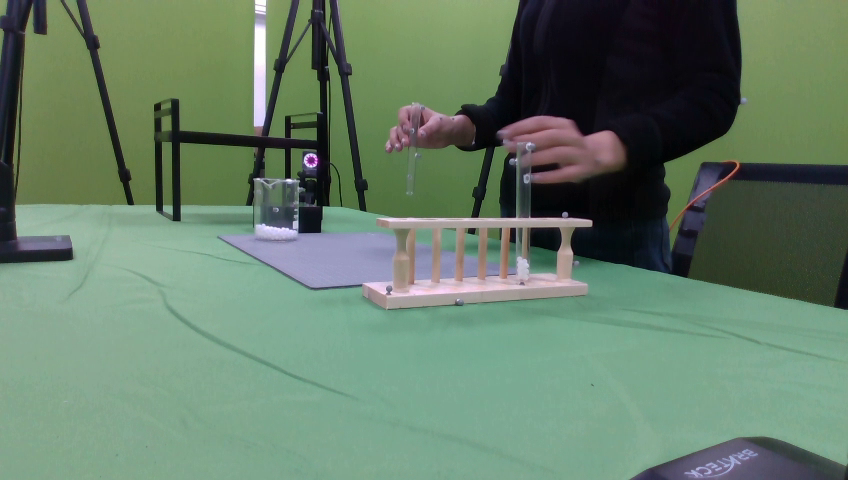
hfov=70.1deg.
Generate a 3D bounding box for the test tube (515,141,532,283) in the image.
[{"bbox_3d":[0.104,-0.028,0.635,0.017,0.150,0.017,-1,12,1],"label":"test tube"}]

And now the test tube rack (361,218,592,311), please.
[{"bbox_3d":[0.060,0.019,0.640,0.243,0.085,0.066,-1,8,-27],"label":"test tube rack"}]

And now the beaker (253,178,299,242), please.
[{"bbox_3d":[-0.243,-0.050,0.990,0.074,0.100,0.084,2,9,1],"label":"beaker"}]

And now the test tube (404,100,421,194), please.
[{"bbox_3d":[-0.018,-0.149,0.973,0.017,0.150,0.017,5,7,0],"label":"test tube"}]
